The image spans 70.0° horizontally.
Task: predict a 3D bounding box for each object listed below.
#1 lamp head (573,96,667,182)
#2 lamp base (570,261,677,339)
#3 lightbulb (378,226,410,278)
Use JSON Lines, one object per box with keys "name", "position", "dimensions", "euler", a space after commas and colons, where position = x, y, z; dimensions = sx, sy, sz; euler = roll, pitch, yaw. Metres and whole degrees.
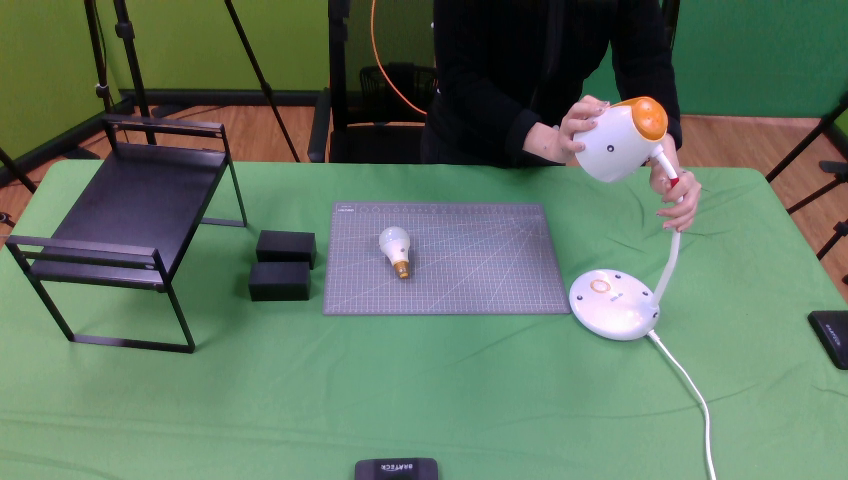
{"name": "lamp head", "position": [0.303, -0.155, 0.903], "dimensions": [0.113, 0.123, 0.112], "euler": [6, 76, -23]}
{"name": "lamp base", "position": [0.361, 0.068, 1.047], "dimensions": [0.178, 0.181, 0.160], "euler": [38, 55, 25]}
{"name": "lightbulb", "position": [-0.051, 0.024, 1.148], "dimensions": [0.059, 0.060, 0.107], "euler": [-10, 63, -13]}
